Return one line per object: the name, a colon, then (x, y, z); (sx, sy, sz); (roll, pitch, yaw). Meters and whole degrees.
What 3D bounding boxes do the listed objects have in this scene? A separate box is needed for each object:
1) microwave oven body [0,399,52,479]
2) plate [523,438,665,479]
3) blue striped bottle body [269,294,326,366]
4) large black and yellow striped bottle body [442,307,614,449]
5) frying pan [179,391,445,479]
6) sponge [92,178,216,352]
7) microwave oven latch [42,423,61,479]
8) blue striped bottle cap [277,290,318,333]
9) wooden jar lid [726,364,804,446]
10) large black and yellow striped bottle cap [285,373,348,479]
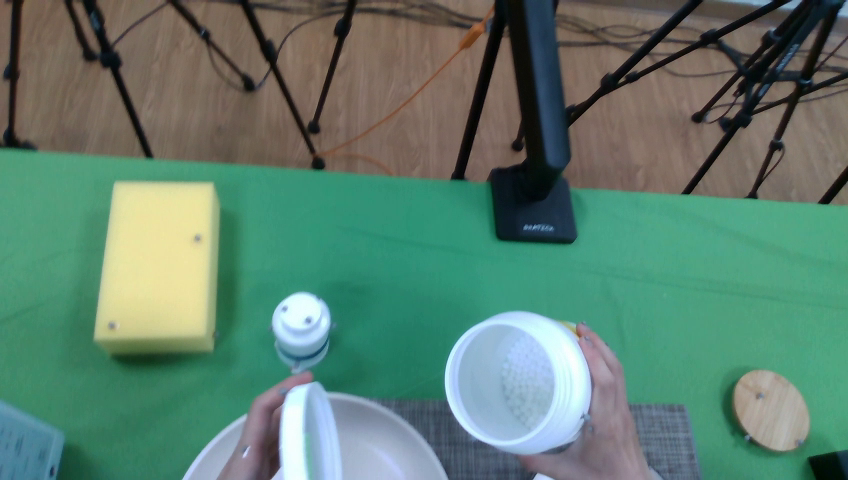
microwave oven body: (-0.522, 0.333, 0.428); (0.327, 0.261, 0.438); (3, 64, -10)
plate: (0.198, 0.336, 0.693); (0.209, 0.038, 0.207); (4, 63, -8)
blue striped bottle body: (-0.145, 0.101, 0.701); (0.063, 0.121, 0.062); (4, 63, -8)
large black and yellow striped bottle body: (0.107, 0.136, 0.605); (0.130, 0.185, 0.130); (-7, 76, 28)
frying pan: (-0.109, 0.392, 0.569); (0.307, 0.103, 0.483); (2, 55, -8)
sponge: (-0.321, 0.027, 0.737); (0.118, 0.061, 0.205); (-2, 65, -12)
microwave oven latch: (-0.393, 0.227, 0.615); (0.030, 0.029, 0.078); (3, 64, -9)
blue striped bottle cap: (-0.137, 0.077, 0.656); (0.045, 0.021, 0.044); (4, 65, -9)
wooden jar lid: (0.455, 0.222, 0.815); (0.108, 0.021, 0.107); (4, 65, -8)
large black and yellow striped bottle cap: (-0.081, 0.162, 0.469); (0.019, 0.116, 0.114); (-10, 65, 2)
